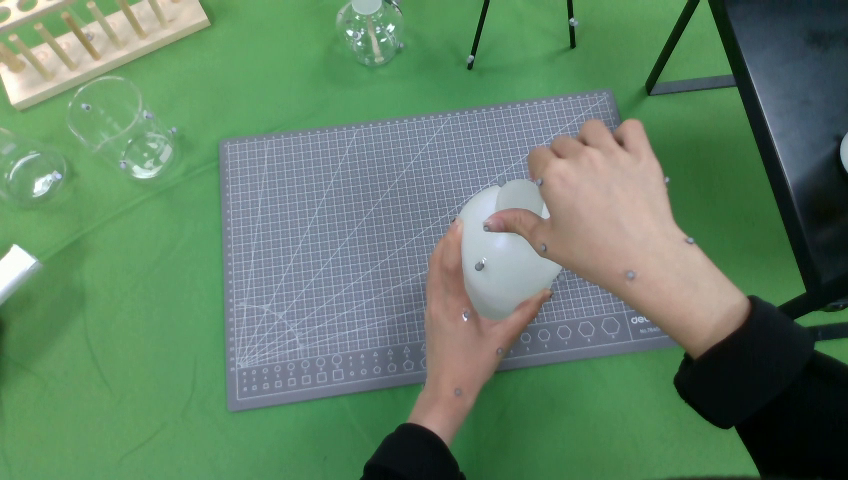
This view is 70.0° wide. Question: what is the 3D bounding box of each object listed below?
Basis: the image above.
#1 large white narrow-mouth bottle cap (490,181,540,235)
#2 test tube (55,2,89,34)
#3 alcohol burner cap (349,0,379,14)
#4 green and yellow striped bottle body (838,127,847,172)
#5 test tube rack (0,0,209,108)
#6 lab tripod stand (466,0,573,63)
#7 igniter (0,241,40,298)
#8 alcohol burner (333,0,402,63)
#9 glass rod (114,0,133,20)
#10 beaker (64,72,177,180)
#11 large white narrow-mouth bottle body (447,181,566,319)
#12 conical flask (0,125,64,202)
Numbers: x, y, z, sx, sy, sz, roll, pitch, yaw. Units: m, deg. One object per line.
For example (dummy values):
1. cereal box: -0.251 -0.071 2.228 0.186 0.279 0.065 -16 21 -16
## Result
1. large white narrow-mouth bottle cap: 0.068 -0.023 0.449 0.038 0.024 0.037 0 72 1
2. test tube: -0.408 -0.275 0.647 0.017 0.151 0.017 -2 67 5
3. alcohol burner cap: -0.066 -0.268 0.639 0.034 0.048 0.033 0 69 0
4. green and yellow striped bottle body: 0.349 -0.085 0.413 0.063 0.120 0.063 0 70 1
5. test tube rack: -0.384 -0.250 0.691 0.242 0.086 0.066 -28 72 -9
6. lab tripod stand: 0.105 -0.276 0.668 0.148 0.132 0.147 0 69 0
7. igniter: -0.467 0.112 0.545 0.057 0.025 0.276 35 71 10
8. alcohol burner: -0.064 -0.254 0.673 0.078 0.120 0.077 0 68 0
9. glass rod: -0.367 -0.309 0.641 0.008 0.201 0.008 -3 64 7
10. beaker: -0.312 -0.112 0.634 0.074 0.101 0.083 7 71 4
11. large white narrow-mouth bottle body: 0.072 0.005 0.535 0.102 0.196 0.101 0 72 2
12. conical flask: -0.436 -0.094 0.617 0.075 0.122 0.075 0 70 1
